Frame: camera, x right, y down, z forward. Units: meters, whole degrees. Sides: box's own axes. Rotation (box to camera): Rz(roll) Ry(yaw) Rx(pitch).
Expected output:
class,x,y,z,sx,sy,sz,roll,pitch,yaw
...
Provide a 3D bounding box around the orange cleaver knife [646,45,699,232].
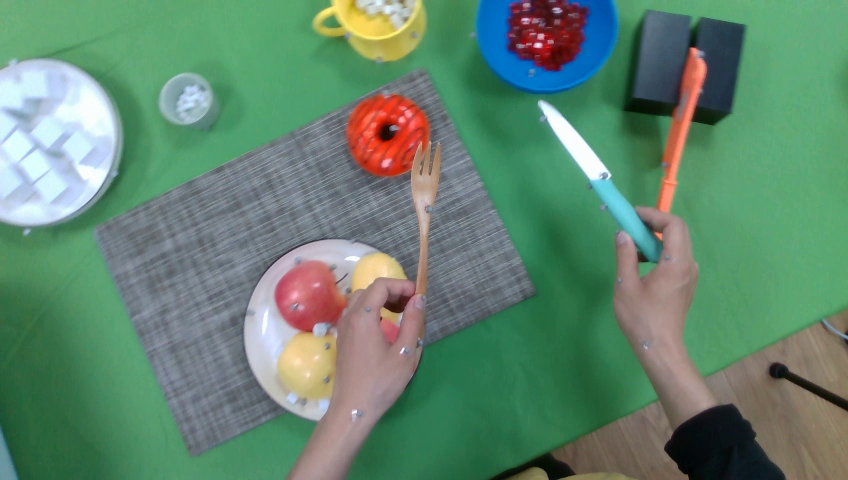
class,x,y,z,sx,sy,sz,roll,pitch,yaw
orange cleaver knife,0.268,-0.103,0.664,0.012,0.077,0.212,10,112,10

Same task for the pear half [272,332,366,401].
class,x,y,z,sx,sy,sz,roll,pitch,yaw
pear half,-0.115,0.149,0.674,0.110,0.056,0.076,25,92,2

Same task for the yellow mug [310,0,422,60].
class,x,y,z,sx,sy,sz,roll,pitch,yaw
yellow mug,-0.069,-0.265,0.705,0.131,0.064,0.099,-16,85,3

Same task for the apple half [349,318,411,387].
class,x,y,z,sx,sy,sz,roll,pitch,yaw
apple half,-0.058,0.127,0.670,0.081,0.033,0.081,3,99,23

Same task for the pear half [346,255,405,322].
class,x,y,z,sx,sy,sz,roll,pitch,yaw
pear half,-0.059,0.061,0.678,0.070,0.031,0.088,-3,89,23

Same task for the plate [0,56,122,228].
class,x,y,z,sx,sy,sz,roll,pitch,yaw
plate,-0.463,-0.116,0.734,0.207,0.039,0.207,0,86,4

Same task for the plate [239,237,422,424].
class,x,y,z,sx,sy,sz,roll,pitch,yaw
plate,-0.104,0.101,0.692,0.209,0.038,0.208,0,86,4

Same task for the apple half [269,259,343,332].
class,x,y,z,sx,sy,sz,roll,pitch,yaw
apple half,-0.136,0.064,0.679,0.074,0.053,0.080,-21,88,3

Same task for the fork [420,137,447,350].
class,x,y,z,sx,sy,sz,roll,pitch,yaw
fork,0.007,0.008,0.570,0.018,0.028,0.208,9,107,13

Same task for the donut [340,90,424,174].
class,x,y,z,sx,sy,sz,roll,pitch,yaw
donut,-0.048,-0.125,0.701,0.099,0.048,0.099,0,87,6

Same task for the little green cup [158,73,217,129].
class,x,y,z,sx,sy,sz,roll,pitch,yaw
little green cup,-0.280,-0.163,0.725,0.061,0.039,0.061,0,86,4

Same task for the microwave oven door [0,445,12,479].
class,x,y,z,sx,sy,sz,roll,pitch,yaw
microwave oven door,-0.504,0.270,0.589,0.039,0.244,0.355,-24,84,2

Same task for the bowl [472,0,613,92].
class,x,y,z,sx,sy,sz,roll,pitch,yaw
bowl,0.129,-0.231,0.684,0.151,0.077,0.151,0,86,4

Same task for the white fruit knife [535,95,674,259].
class,x,y,z,sx,sy,sz,roll,pitch,yaw
white fruit knife,0.175,-0.062,0.601,0.027,0.016,0.207,-37,87,-17
